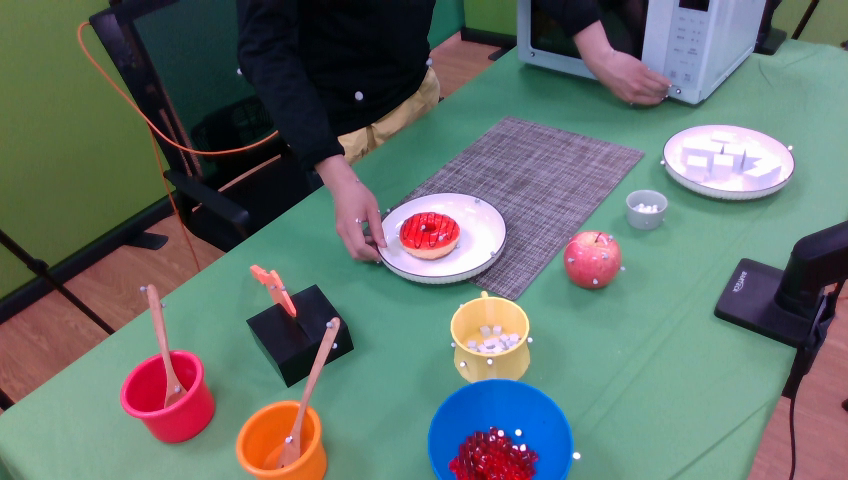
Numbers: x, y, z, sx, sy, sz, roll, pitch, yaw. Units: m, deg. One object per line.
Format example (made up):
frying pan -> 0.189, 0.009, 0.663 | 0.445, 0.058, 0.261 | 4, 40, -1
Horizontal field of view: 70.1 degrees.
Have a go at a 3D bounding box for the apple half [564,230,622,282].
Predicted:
apple half -> 0.249, 0.021, 0.874 | 0.080, 0.075, 0.053 | 13, 40, 28

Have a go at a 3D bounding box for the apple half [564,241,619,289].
apple half -> 0.229, 0.043, 0.848 | 0.081, 0.081, 0.033 | 17, 42, 26

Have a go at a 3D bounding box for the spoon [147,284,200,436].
spoon -> -0.318, 0.147, 0.754 | 0.042, 0.021, 0.193 | -15, 85, -11

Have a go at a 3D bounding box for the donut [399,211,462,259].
donut -> 0.010, -0.009, 0.948 | 0.099, 0.048, 0.098 | -4, 38, 4

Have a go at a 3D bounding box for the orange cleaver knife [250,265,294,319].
orange cleaver knife -> -0.221, 0.072, 0.877 | 0.012, 0.077, 0.210 | -23, 12, -22

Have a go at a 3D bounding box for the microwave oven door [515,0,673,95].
microwave oven door -> 0.344, -0.455, 1.259 | 0.353, 0.245, 0.039 | 26, 51, 33

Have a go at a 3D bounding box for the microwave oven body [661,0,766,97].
microwave oven body -> 0.473, -0.514, 1.317 | 0.438, 0.261, 0.327 | 26, 51, 34

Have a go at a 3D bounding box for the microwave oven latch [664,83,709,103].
microwave oven latch -> 0.521, -0.298, 1.205 | 0.030, 0.029, 0.078 | -34, 46, -26

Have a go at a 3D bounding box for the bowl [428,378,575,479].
bowl -> 0.083, 0.232, 0.645 | 0.151, 0.077, 0.150 | -4, 40, 4

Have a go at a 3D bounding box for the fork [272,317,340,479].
fork -> -0.131, 0.185, 0.677 | 0.028, 0.019, 0.207 | 17, 90, 28

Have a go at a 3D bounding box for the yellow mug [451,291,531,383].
yellow mug -> 0.086, 0.120, 0.787 | 0.100, 0.064, 0.130 | -7, 39, 1

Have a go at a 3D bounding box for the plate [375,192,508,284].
plate -> 0.028, 0.000, 0.952 | 0.209, 0.038, 0.208 | -4, 40, 4

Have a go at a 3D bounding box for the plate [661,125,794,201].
plate -> 0.514, -0.128, 1.036 | 0.207, 0.039, 0.206 | -4, 40, 4

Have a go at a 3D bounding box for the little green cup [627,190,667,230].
little green cup -> 0.353, -0.046, 0.963 | 0.061, 0.039, 0.061 | -4, 40, 4
